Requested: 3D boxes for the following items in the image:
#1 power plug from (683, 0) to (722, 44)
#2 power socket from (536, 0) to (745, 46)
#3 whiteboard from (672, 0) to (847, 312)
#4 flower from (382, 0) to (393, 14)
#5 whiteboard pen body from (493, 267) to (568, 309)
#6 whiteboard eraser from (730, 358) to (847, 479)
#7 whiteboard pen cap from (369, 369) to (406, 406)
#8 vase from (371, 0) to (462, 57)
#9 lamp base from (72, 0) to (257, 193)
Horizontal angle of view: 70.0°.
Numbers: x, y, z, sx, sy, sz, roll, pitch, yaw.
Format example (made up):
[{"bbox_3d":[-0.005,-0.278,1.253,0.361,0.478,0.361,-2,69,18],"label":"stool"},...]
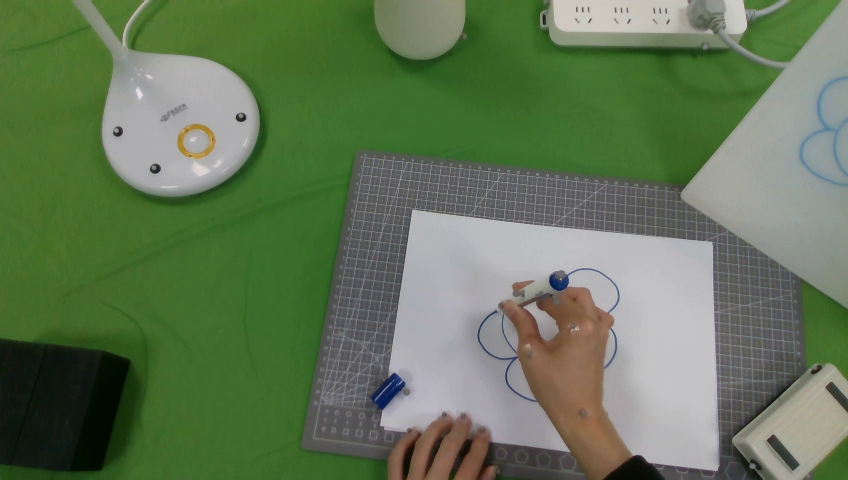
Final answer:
[{"bbox_3d":[0.289,-0.230,0.637,0.035,0.053,0.072,11,78,4],"label":"power plug"},{"bbox_3d":[0.240,-0.252,0.668,0.227,0.033,0.072,1,73,0],"label":"power socket"},{"bbox_3d":[0.407,-0.109,0.509,0.216,0.307,0.143,37,55,13],"label":"whiteboard"},{"bbox_3d":[0.007,-0.286,0.507,0.044,0.361,0.038,-37,92,-20],"label":"flower"},{"bbox_3d":[0.085,0.044,0.513,0.017,0.141,0.017,4,74,-13],"label":"whiteboard pen body"},{"bbox_3d":[0.323,0.156,0.526,0.112,0.042,0.055,-36,74,-11],"label":"whiteboard eraser"},{"bbox_3d":[-0.032,0.133,0.548,0.018,0.018,0.033,41,75,13],"label":"whiteboard pen cap"},{"bbox_3d":[-0.010,-0.270,0.588,0.098,0.201,0.097,0,71,2],"label":"vase"},{"bbox_3d":[-0.265,-0.155,0.561,0.178,0.181,0.160,39,76,15],"label":"lamp base"}]
